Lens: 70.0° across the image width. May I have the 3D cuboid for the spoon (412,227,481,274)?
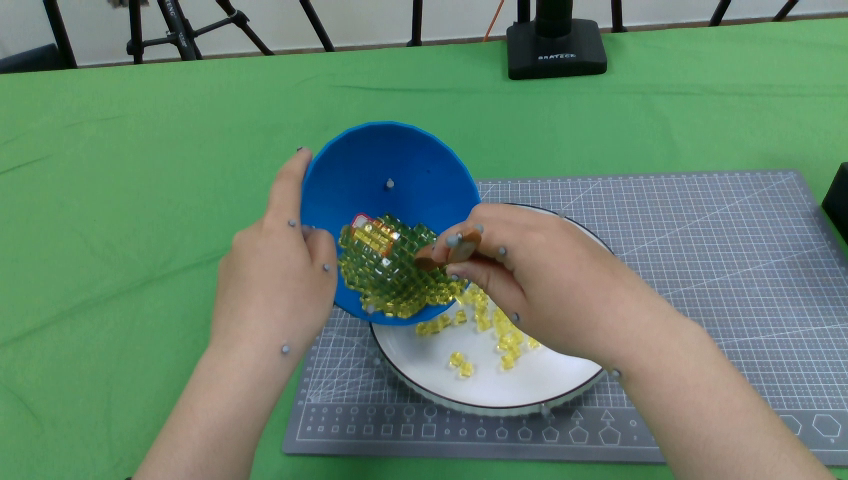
[{"bbox_3d":[0.017,0.010,0.385,0.042,0.193,0.021,-6,87,-5],"label":"spoon"}]

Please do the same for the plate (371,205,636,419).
[{"bbox_3d":[0.061,0.054,0.492,0.207,0.039,0.205,-4,46,4],"label":"plate"}]

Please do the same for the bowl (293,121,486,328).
[{"bbox_3d":[-0.036,-0.008,0.469,0.151,0.152,0.076,-38,13,-26],"label":"bowl"}]
